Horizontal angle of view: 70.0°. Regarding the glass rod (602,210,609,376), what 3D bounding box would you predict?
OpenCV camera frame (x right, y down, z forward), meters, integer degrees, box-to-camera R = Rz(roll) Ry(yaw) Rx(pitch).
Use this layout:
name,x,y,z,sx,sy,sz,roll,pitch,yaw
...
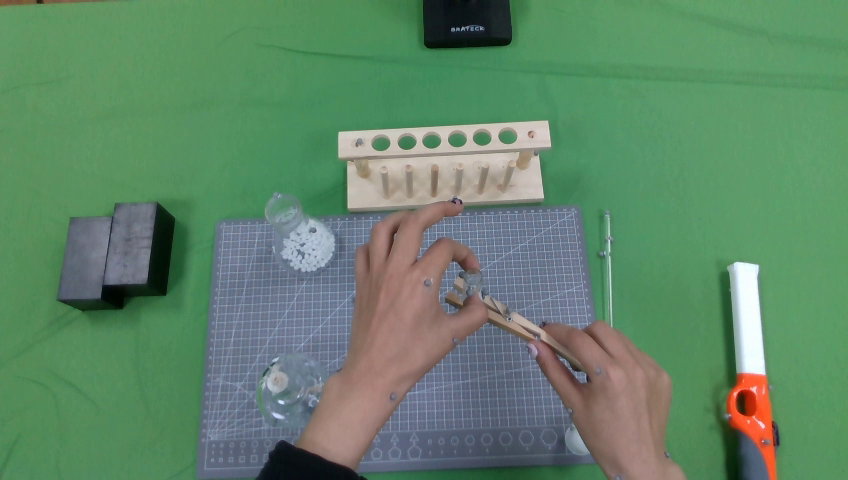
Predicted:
name,x,y,z,sx,sy,sz,roll,pitch,yaw
glass rod,0.213,0.059,0.711,0.008,0.008,0.198,4,73,2

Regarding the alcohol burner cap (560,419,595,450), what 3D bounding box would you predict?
name,x,y,z,sx,sy,sz,roll,pitch,yaw
alcohol burner cap,0.165,0.205,0.642,0.034,0.048,0.033,0,70,1

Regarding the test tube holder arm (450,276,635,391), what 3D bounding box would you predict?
name,x,y,z,sx,sy,sz,roll,pitch,yaw
test tube holder arm,0.100,0.079,0.526,0.177,0.015,0.013,29,78,14

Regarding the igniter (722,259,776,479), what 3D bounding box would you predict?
name,x,y,z,sx,sy,sz,roll,pitch,yaw
igniter,0.355,0.154,0.667,0.057,0.025,0.275,9,71,-7

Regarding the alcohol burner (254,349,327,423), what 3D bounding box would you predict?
name,x,y,z,sx,sy,sz,roll,pitch,yaw
alcohol burner,-0.142,0.149,0.628,0.078,0.120,0.077,-1,69,3

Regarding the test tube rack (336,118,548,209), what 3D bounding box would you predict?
name,x,y,z,sx,sy,sz,roll,pitch,yaw
test tube rack,0.021,-0.090,0.725,0.242,0.086,0.066,-3,71,0

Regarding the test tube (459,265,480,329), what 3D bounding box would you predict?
name,x,y,z,sx,sy,sz,roll,pitch,yaw
test tube,0.040,0.056,0.554,0.017,0.151,0.017,-1,67,2

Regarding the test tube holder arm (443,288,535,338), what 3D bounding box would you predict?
name,x,y,z,sx,sy,sz,roll,pitch,yaw
test tube holder arm,0.058,0.065,0.535,0.087,0.015,0.010,23,76,13

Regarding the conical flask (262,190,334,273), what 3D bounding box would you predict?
name,x,y,z,sx,sy,sz,roll,pitch,yaw
conical flask,-0.147,-0.014,0.679,0.075,0.122,0.075,0,71,1
